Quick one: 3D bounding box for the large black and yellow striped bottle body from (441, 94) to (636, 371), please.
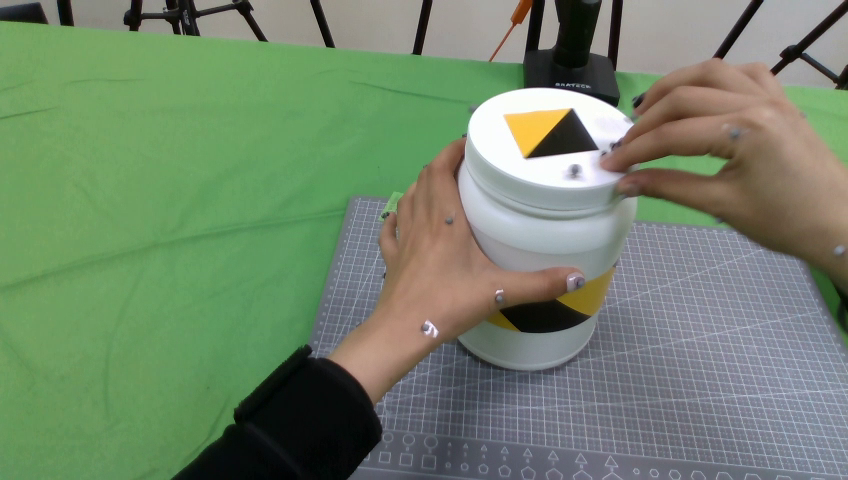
[{"bbox_3d":[0.082,-0.002,0.460,0.131,0.185,0.129,2,45,-1],"label":"large black and yellow striped bottle body"}]

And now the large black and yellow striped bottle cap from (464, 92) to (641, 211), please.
[{"bbox_3d":[0.084,-0.062,0.400,0.115,0.019,0.114,2,43,-1],"label":"large black and yellow striped bottle cap"}]
